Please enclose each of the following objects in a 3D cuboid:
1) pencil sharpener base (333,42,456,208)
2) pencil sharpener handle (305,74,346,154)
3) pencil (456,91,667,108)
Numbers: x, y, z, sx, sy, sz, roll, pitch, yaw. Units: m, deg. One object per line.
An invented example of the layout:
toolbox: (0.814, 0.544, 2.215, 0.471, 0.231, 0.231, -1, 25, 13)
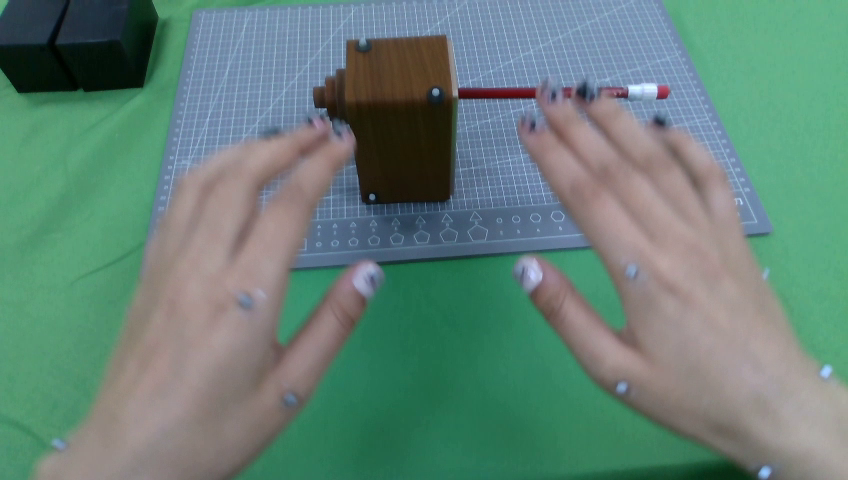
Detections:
pencil sharpener base: (-0.019, -0.076, 0.425, 0.077, 0.108, 0.061, -3, 56, -1)
pencil sharpener handle: (-0.070, -0.081, 0.413, 0.030, 0.068, 0.035, -3, 59, -1)
pencil: (0.068, -0.094, 0.408, 0.194, 0.012, 0.012, -1, 55, -3)
